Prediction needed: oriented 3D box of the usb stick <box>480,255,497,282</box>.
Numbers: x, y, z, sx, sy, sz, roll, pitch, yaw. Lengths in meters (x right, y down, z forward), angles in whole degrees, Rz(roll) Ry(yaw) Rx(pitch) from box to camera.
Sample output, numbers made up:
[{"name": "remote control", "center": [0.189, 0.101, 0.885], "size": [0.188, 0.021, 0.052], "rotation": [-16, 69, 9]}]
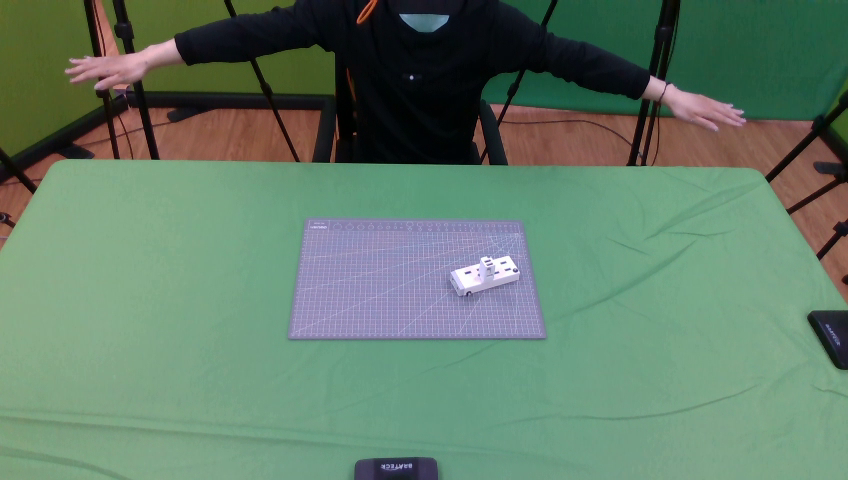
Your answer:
[{"name": "usb stick", "center": [0.116, 0.056, 1.100], "size": [0.021, 0.059, 0.027], "rotation": [-16, 51, -17]}]

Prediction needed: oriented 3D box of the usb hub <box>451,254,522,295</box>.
[{"name": "usb hub", "center": [0.117, 0.065, 1.132], "size": [0.125, 0.025, 0.049], "rotation": [-15, 49, -16]}]
